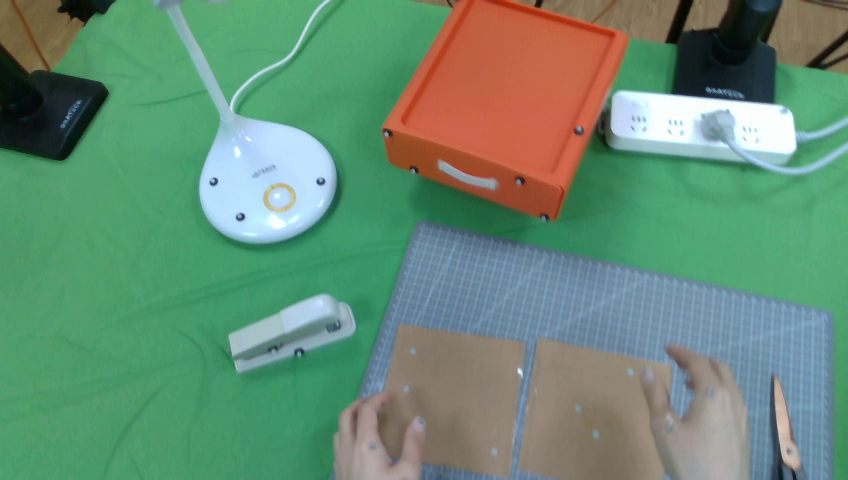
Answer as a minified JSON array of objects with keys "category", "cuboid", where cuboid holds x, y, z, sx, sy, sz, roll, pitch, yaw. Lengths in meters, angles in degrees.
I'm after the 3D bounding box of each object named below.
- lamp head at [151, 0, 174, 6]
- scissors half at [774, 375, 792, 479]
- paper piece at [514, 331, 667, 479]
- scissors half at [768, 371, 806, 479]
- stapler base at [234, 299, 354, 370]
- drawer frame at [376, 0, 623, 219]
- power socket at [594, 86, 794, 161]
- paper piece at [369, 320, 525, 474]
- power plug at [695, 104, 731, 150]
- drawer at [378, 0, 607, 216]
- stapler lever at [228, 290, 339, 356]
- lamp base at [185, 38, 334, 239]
[{"category":"lamp head","cuboid":[-0.169,-0.231,0.385,0.112,0.112,0.123,-46,108,-18]},{"category":"scissors half","cuboid":[0.326,0.204,0.559,0.040,0.013,0.174,15,61,2]},{"category":"paper piece","cuboid":[0.165,0.165,0.589,0.135,0.004,0.135,11,65,8]},{"category":"scissors half","cuboid":[0.346,0.206,0.559,0.040,0.013,0.173,-3,61,-2]},{"category":"stapler base","cuboid":[-0.140,0.094,0.635,0.130,0.024,0.041,-19,61,-5]},{"category":"drawer frame","cuboid":[0.085,-0.158,0.669,0.201,0.083,0.212,21,68,13]},{"category":"power socket","cuboid":[0.320,-0.139,0.721,0.226,0.033,0.071,7,65,6]},{"category":"paper piece","cuboid":[0.025,0.151,0.604,0.136,0.009,0.137,7,66,10]},{"category":"power plug","cuboid":[0.324,-0.122,0.687,0.035,0.053,0.072,17,66,11]},{"category":"drawer","cuboid":[0.084,-0.153,0.664,0.194,0.074,0.211,21,66,13]},{"category":"stapler lever","cuboid":[-0.144,0.083,0.611,0.118,0.040,0.026,-19,61,-4]},{"category":"lamp base","cuboid":[-0.199,-0.116,0.653,0.160,0.182,0.177,-38,65,-15]}]
